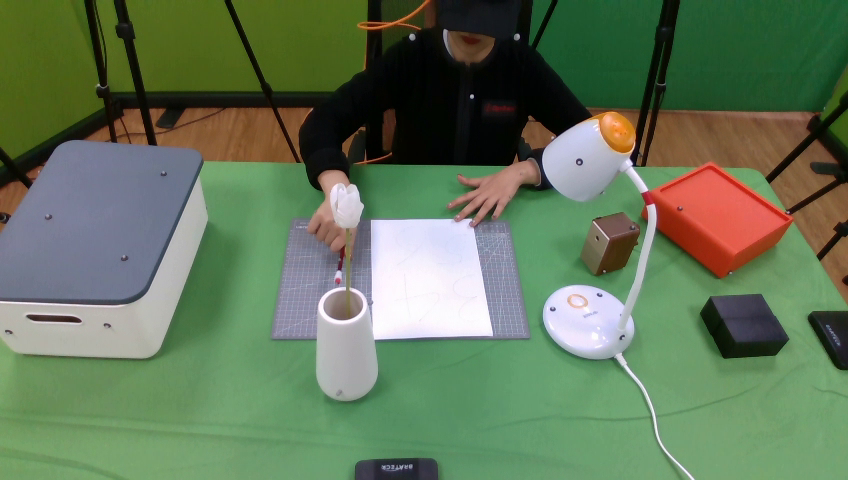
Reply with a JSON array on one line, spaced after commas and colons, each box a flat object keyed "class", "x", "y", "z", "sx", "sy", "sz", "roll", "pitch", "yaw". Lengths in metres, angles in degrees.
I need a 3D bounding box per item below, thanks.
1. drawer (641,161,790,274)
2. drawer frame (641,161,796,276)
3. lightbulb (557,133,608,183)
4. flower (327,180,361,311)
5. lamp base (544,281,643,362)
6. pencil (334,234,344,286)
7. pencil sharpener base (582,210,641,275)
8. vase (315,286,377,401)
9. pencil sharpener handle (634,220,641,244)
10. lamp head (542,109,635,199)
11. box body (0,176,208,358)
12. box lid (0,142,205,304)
[{"class": "drawer", "x": 0.596, "y": -0.051, "z": 1.246, "sx": 0.194, "sy": 0.073, "sz": 0.210, "roll": -23, "pitch": 53, "yaw": -25}, {"class": "drawer frame", "x": 0.599, "y": -0.051, "z": 1.244, "sx": 0.202, "sy": 0.083, "sz": 0.212, "roll": -24, "pitch": 52, "yaw": -25}, {"class": "lightbulb", "x": 0.243, "y": -0.127, "z": 0.917, "sx": 0.060, "sy": 0.108, "sz": 0.059, "roll": 6, "pitch": 67, "yaw": -14}, {"class": "flower", "x": -0.111, "y": 0.086, "z": 0.867, "sx": 0.044, "sy": 0.363, "sz": 0.038, "roll": 22, "pitch": 33, "yaw": 36}, {"class": "lamp base", "x": 0.304, "y": 0.095, "z": 1.014, "sx": 0.161, "sy": 0.181, "sz": 0.178, "roll": -24, "pitch": 54, "yaw": -24}, {"class": "pencil", "x": -0.154, "y": 0.022, "z": 1.134, "sx": 0.012, "sy": 0.012, "sz": 0.193, "roll": 2, "pitch": 36, "yaw": -2}, {"class": "pencil sharpener base", "x": 0.357, "y": 0.005, "z": 1.156, "sx": 0.077, "sy": 0.107, "sz": 0.061, "roll": -15, "pitch": 48, "yaw": -18}, {"class": "vase", "x": -0.119, "y": 0.159, "z": 0.911, "sx": 0.098, "sy": 0.201, "sz": 0.097, "roll": 2, "pitch": 47, "yaw": -2}, {"class": "pencil sharpener handle", "x": 0.405, "y": -0.015, "z": 1.162, "sx": 0.031, "sy": 0.068, "sz": 0.035, "roll": -15, "pitch": 45, "yaw": -18}, {"class": "lamp head", "x": 0.253, "y": -0.131, "z": 0.893, "sx": 0.113, "sy": 0.123, "sz": 0.112, "roll": 10, "pitch": 66, "yaw": -24}, {"class": "box body", "x": -0.546, "y": 0.017, "z": 1.045, "sx": 0.254, "sy": 0.161, "sz": 0.361, "roll": 2, "pitch": 46, "yaw": -2}, {"class": "box lid", "x": -0.534, "y": -0.044, "z": 0.995, "sx": 0.263, "sy": 0.015, "sz": 0.369, "roll": 3, "pitch": 45, "yaw": -3}]
